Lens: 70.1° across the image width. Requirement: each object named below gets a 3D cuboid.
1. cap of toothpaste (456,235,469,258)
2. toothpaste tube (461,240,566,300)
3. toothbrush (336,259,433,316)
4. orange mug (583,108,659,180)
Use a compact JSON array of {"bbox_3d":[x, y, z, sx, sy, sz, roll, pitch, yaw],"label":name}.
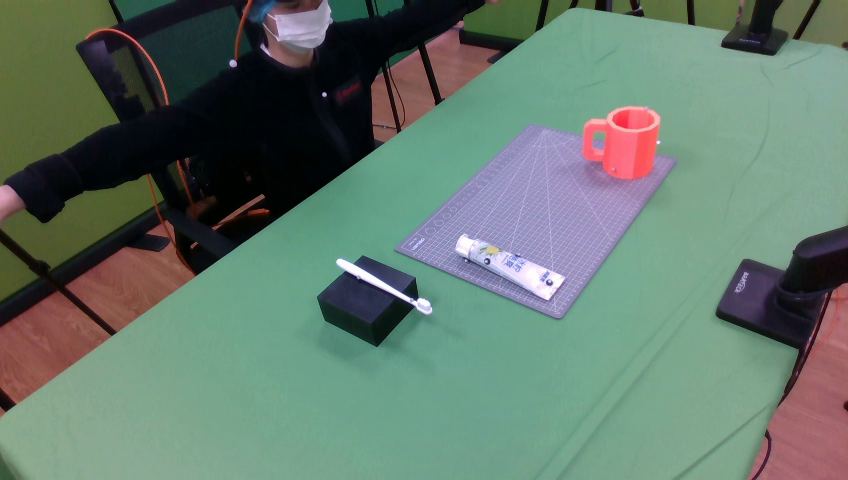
[{"bbox_3d":[0.062,0.010,0.936,0.011,0.037,0.037,23,49,27],"label":"cap of toothpaste"},{"bbox_3d":[0.125,0.040,0.900,0.164,0.035,0.055,23,55,27],"label":"toothpaste tube"},{"bbox_3d":[-0.059,0.062,0.839,0.180,0.017,0.014,24,54,33],"label":"toothbrush"},{"bbox_3d":[0.343,-0.171,1.061,0.126,0.101,0.083,10,43,15],"label":"orange mug"}]
